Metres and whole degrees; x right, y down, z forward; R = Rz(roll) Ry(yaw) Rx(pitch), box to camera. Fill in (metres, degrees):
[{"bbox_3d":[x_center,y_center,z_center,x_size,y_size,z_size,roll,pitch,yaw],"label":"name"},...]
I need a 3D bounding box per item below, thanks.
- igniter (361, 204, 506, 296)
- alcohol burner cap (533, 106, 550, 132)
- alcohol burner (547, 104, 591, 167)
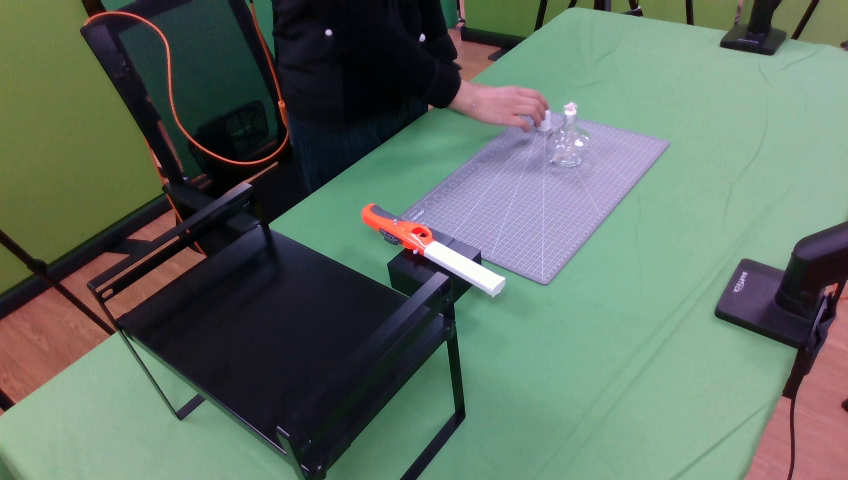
[{"bbox_3d":[0.003,0.008,0.889,0.274,0.025,0.057,29,49,33],"label":"igniter"},{"bbox_3d":[0.235,-0.243,1.206,0.034,0.048,0.033,-4,37,3],"label":"alcohol burner cap"},{"bbox_3d":[0.261,-0.192,1.087,0.078,0.119,0.077,-5,42,5],"label":"alcohol burner"}]
